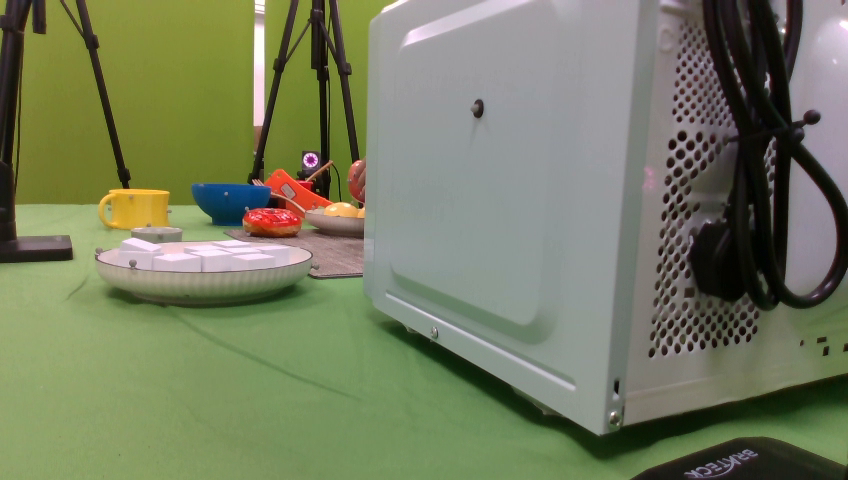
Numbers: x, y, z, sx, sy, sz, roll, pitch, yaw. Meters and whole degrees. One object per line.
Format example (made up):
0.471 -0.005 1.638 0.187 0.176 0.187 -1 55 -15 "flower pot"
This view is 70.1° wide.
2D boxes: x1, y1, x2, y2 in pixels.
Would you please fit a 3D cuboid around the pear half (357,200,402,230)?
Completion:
-0.075 -0.047 1.133 0.076 0.056 0.110 13 8 31 "pear half"

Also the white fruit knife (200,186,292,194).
-0.399 -0.111 1.368 0.208 0.016 0.027 -4 -19 -30 "white fruit knife"

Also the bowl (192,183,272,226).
-0.381 -0.071 1.202 0.151 0.077 0.151 3 7 0 "bowl"

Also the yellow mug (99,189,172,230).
-0.518 -0.055 1.080 0.099 0.064 0.131 7 10 26 "yellow mug"

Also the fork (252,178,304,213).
-0.295 -0.084 1.292 0.206 0.018 0.028 29 10 25 "fork"

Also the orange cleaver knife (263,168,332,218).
-0.262 -0.088 1.353 0.211 0.077 0.012 28 13 -1 "orange cleaver knife"

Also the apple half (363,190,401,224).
-0.082 -0.070 1.191 0.081 0.081 0.033 2 -25 -6 "apple half"

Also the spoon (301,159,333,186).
-0.316 -0.159 1.639 0.194 0.022 0.041 -49 33 -20 "spoon"

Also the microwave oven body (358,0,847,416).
0.211 -0.047 0.474 0.444 0.260 0.324 -1 7 -28 "microwave oven body"

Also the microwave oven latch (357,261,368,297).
-0.019 0.033 0.531 0.079 0.029 0.030 -1 7 -27 "microwave oven latch"

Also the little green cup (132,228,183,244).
-0.342 0.006 0.779 0.061 0.038 0.061 2 8 0 "little green cup"

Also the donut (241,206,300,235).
-0.263 -0.032 1.039 0.099 0.048 0.099 4 10 0 "donut"

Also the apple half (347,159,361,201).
-0.082 -0.097 1.005 0.053 0.074 0.081 20 18 36 "apple half"

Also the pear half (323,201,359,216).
-0.155 -0.059 1.197 0.088 0.031 0.070 12 31 0 "pear half"

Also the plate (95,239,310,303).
-0.224 0.031 0.629 0.208 0.039 0.207 2 7 0 "plate"

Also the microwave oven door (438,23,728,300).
0.181 -0.072 0.621 0.358 0.243 0.039 -2 8 -29 "microwave oven door"

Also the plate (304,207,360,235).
-0.123 -0.037 1.149 0.209 0.038 0.209 2 7 0 "plate"
